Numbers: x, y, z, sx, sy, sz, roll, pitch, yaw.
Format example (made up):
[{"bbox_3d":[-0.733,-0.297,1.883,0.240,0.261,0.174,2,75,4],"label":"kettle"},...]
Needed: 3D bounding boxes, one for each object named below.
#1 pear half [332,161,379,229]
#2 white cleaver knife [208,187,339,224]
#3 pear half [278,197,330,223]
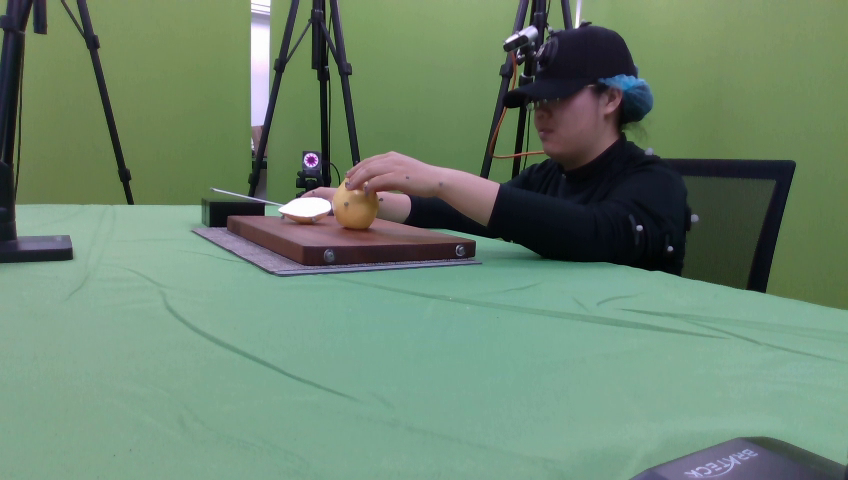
[{"bbox_3d":[-0.105,-0.072,0.971,0.077,0.110,0.055,-7,12,-36],"label":"pear half"},{"bbox_3d":[-0.286,-0.073,1.222,0.288,0.021,0.065,15,4,-28],"label":"white cleaver knife"},{"bbox_3d":[-0.203,-0.046,1.033,0.088,0.031,0.070,-13,27,-17],"label":"pear half"}]
